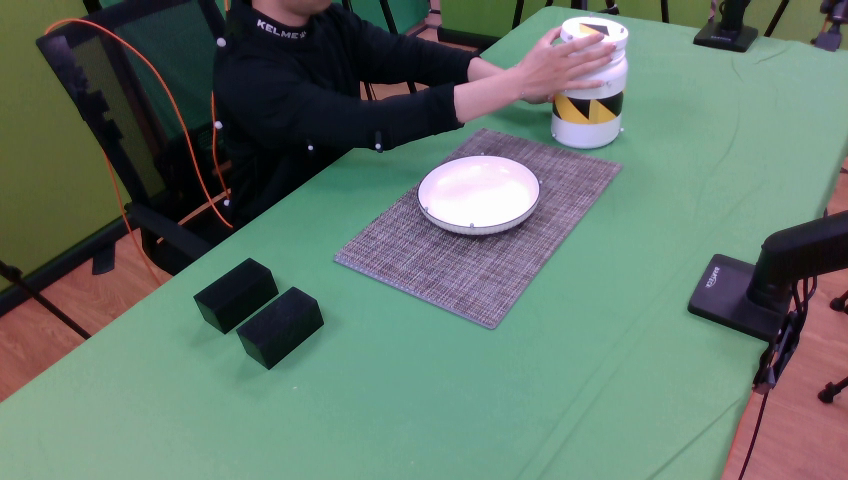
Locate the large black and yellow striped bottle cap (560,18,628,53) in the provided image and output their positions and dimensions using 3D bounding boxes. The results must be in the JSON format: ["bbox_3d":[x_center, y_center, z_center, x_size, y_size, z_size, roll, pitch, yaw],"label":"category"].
[{"bbox_3d":[0.296,-0.358,1.054,0.115,0.019,0.114,1,40,0],"label":"large black and yellow striped bottle cap"}]

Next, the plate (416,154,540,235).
[{"bbox_3d":[0.090,-0.074,1.025,0.207,0.039,0.206,-4,41,4],"label":"plate"}]

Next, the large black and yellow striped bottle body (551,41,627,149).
[{"bbox_3d":[0.305,-0.278,1.125,0.131,0.185,0.130,-4,41,4],"label":"large black and yellow striped bottle body"}]
